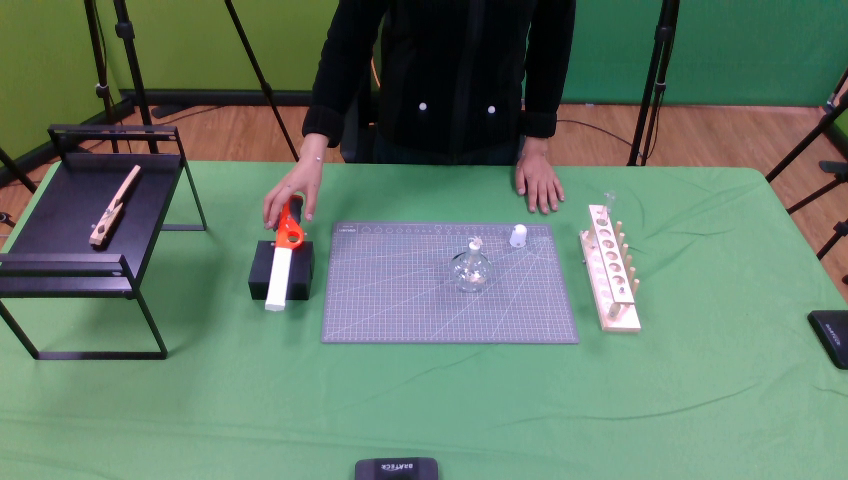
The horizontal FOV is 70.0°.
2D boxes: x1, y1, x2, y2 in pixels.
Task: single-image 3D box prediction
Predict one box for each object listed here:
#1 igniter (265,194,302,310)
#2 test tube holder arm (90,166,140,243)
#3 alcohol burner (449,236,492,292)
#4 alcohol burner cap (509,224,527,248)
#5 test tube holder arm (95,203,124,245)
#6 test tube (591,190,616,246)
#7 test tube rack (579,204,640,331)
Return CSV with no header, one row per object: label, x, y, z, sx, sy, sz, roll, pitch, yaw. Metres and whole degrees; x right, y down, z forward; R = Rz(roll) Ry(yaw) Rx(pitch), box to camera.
igniter,-0.253,0.011,1.099,0.057,0.025,0.274,9,46,-13
test tube holder arm,-0.492,-0.061,0.970,0.013,0.015,0.177,28,39,-24
alcohol burner,0.086,0.038,1.101,0.078,0.119,0.077,3,45,-2
alcohol burner cap,0.189,-0.011,1.206,0.034,0.048,0.033,1,45,-1
test tube holder arm,-0.488,-0.027,0.940,0.010,0.015,0.087,29,38,-23
test tube,0.338,-0.038,1.148,0.017,0.151,0.017,0,51,0
test tube rack,0.353,0.047,1.137,0.067,0.085,0.241,2,46,-2
